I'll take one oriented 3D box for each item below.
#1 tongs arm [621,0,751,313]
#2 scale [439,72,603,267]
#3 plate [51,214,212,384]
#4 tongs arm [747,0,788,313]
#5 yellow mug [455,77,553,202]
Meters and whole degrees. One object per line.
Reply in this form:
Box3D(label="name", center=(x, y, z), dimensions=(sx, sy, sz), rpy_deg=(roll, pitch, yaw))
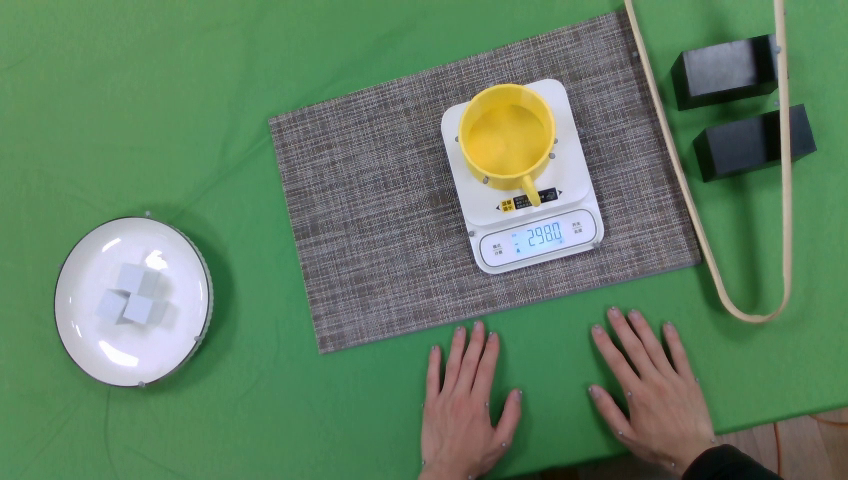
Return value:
Box3D(label="tongs arm", center=(0.279, -0.105, 0.666), dimensions=(0.028, 0.028, 0.386), rpy_deg=(-20, 82, 32))
Box3D(label="scale", center=(0.108, -0.080, 0.688), dimensions=(0.148, 0.031, 0.200), rpy_deg=(-15, 84, 8))
Box3D(label="plate", center=(-0.357, 0.072, 0.752), dimensions=(0.207, 0.039, 0.207), rpy_deg=(-1, 86, 8))
Box3D(label="tongs arm", center=(0.343, -0.118, 0.616), dimensions=(0.050, 0.026, 0.384), rpy_deg=(-4, 92, 36))
Box3D(label="yellow mug", center=(0.092, -0.100, 0.645), dimensions=(0.100, 0.064, 0.130), rpy_deg=(-25, 84, 6))
